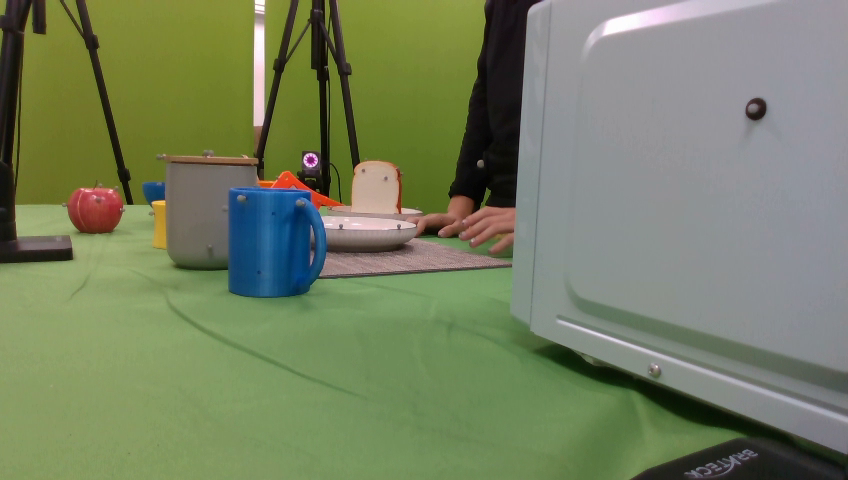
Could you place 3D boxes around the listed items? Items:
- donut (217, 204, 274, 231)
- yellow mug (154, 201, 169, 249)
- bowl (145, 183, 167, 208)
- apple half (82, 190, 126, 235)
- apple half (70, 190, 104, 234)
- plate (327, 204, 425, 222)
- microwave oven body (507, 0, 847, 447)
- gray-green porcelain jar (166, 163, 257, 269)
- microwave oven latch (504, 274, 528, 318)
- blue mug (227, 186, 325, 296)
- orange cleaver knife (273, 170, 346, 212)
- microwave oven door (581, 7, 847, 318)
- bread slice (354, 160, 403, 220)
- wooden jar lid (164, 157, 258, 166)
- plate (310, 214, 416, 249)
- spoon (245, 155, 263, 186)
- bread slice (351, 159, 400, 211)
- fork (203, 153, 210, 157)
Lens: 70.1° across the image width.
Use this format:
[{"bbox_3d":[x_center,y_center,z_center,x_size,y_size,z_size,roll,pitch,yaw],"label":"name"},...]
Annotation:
[{"bbox_3d":[-0.318,-0.038,1.080,0.099,0.048,0.099,3,7,0],"label":"donut"},{"bbox_3d":[-0.338,-0.022,0.899,0.130,0.064,0.100,8,9,34],"label":"yellow mug"},{"bbox_3d":[-0.459,-0.068,1.175,0.151,0.077,0.151,2,7,0],"label":"bowl"},{"bbox_3d":[-0.516,-0.046,0.994,0.032,0.081,0.081,0,6,26],"label":"apple half"},{"bbox_3d":[-0.552,-0.048,1.009,0.053,0.074,0.081,-1,9,26],"label":"apple half"},{"bbox_3d":[-0.102,-0.053,1.299,0.209,0.038,0.209,2,7,0],"label":"plate"},{"bbox_3d":[0.331,-0.042,0.425,0.444,0.260,0.324,-2,8,-31],"label":"microwave oven body"},{"bbox_3d":[-0.263,-0.031,0.754,0.106,0.126,0.106,2,7,0],"label":"gray-green porcelain jar"},{"bbox_3d":[0.100,0.041,0.471,0.079,0.029,0.030,-1,8,-28],"label":"microwave oven latch"},{"bbox_3d":[-0.147,0.000,0.618,0.116,0.106,0.083,7,9,32],"label":"blue mug"},{"bbox_3d":[-0.253,-0.089,1.368,0.212,0.077,0.012,26,-8,-42],"label":"orange cleaver knife"},{"bbox_3d":[0.295,-0.067,0.569,0.358,0.243,0.039,-3,8,-31],"label":"microwave oven door"},{"bbox_3d":[-0.096,-0.110,1.324,0.105,0.131,0.019,5,2,5],"label":"bread slice"},{"bbox_3d":[-0.261,-0.093,0.746,0.108,0.020,0.108,0,9,0],"label":"wooden jar lid"},{"bbox_3d":[-0.117,-0.014,0.967,0.208,0.039,0.207,2,7,0],"label":"plate"},{"bbox_3d":[-0.421,-0.150,1.540,0.042,0.193,0.021,-5,-35,-37],"label":"spoon"},{"bbox_3d":[-0.102,-0.104,1.273,0.107,0.134,0.018,-1,4,4],"label":"bread slice"},{"bbox_3d":[-0.480,-0.135,1.411,0.028,0.018,0.207,1,-34,-1],"label":"fork"}]
